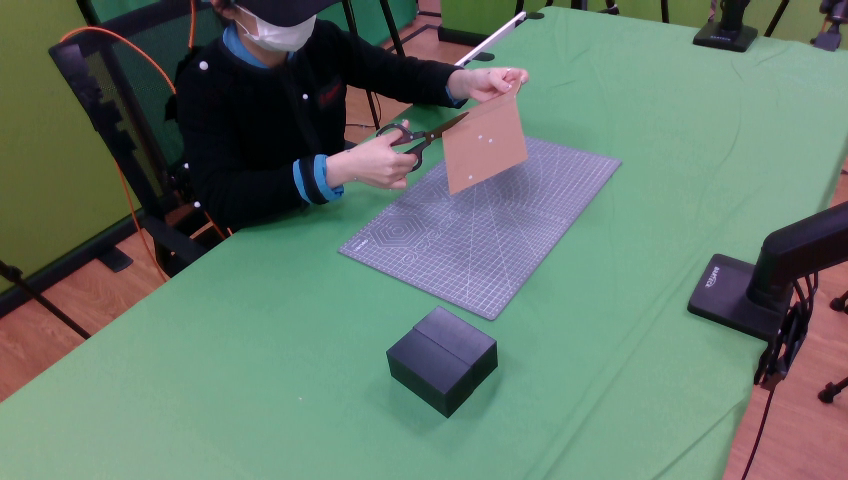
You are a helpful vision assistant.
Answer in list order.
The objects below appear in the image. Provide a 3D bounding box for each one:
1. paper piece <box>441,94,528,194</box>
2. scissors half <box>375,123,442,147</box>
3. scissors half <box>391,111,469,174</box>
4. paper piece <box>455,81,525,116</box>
[{"bbox_3d":[0.089,-0.150,0.932,0.135,0.004,0.135,-23,53,25],"label":"paper piece"},{"bbox_3d":[-0.001,-0.181,1.002,0.174,0.040,0.013,-4,37,17],"label":"scissors half"},{"bbox_3d":[0.011,-0.163,1.012,0.174,0.040,0.013,-37,17,33],"label":"scissors half"},{"bbox_3d":[0.102,-0.232,1.029,0.135,0.009,0.138,-18,15,23],"label":"paper piece"}]
